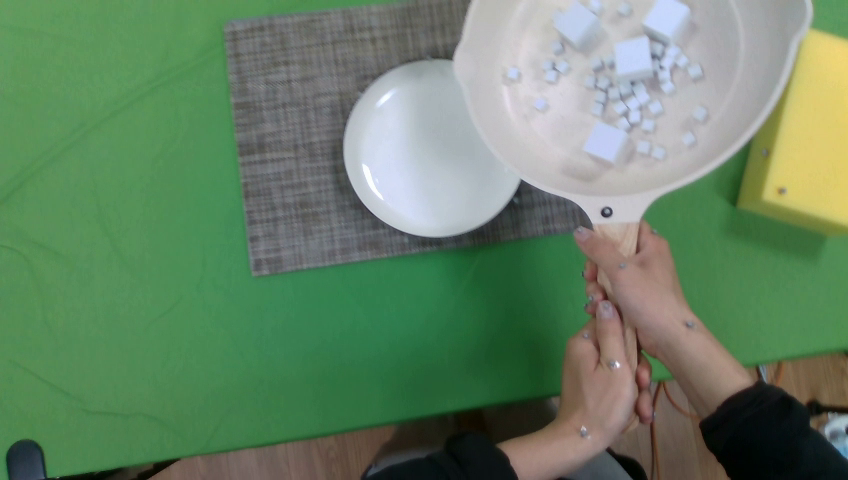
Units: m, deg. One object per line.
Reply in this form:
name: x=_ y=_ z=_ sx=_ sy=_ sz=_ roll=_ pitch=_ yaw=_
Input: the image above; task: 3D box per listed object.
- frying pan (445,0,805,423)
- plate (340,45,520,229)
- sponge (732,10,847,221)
frying pan: x=0.169 y=-0.085 z=0.550 sx=0.305 sy=0.103 sz=0.486 roll=-2 pitch=82 yaw=26
plate: x=0.011 y=-0.114 z=0.687 sx=0.208 sy=0.039 sz=0.207 roll=0 pitch=86 yaw=-1
sponge: x=0.445 y=-0.138 z=0.691 sx=0.118 sy=0.061 sz=0.206 roll=15 pitch=87 yaw=0
